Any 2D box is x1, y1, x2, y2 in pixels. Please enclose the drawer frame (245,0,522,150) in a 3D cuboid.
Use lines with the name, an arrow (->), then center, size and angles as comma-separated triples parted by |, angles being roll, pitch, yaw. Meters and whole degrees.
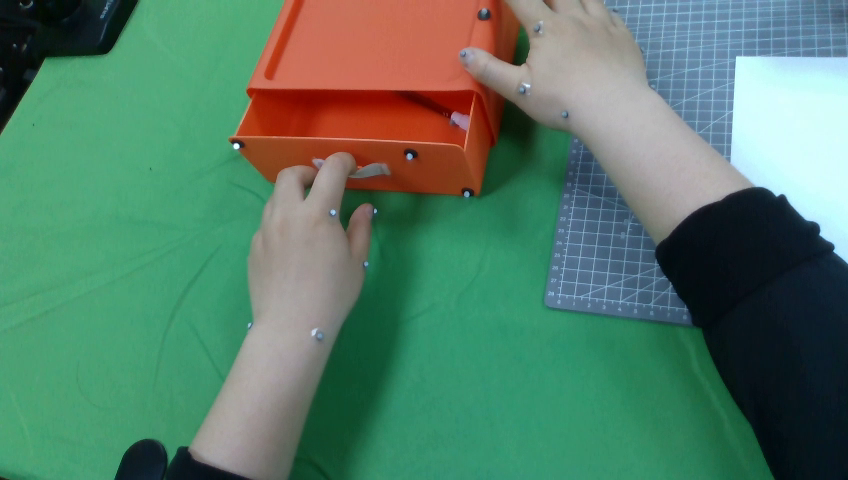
drawer frame -> -0.024, -0.187, 0.530 | 0.201, 0.083, 0.212 | 4, 65, 19

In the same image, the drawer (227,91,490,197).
drawer -> -0.034, -0.144, 0.512 | 0.193, 0.074, 0.210 | 5, 65, 20

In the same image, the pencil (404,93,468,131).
pencil -> -0.022, -0.137, 0.539 | 0.012, 0.012, 0.192 | -46, 55, -9
